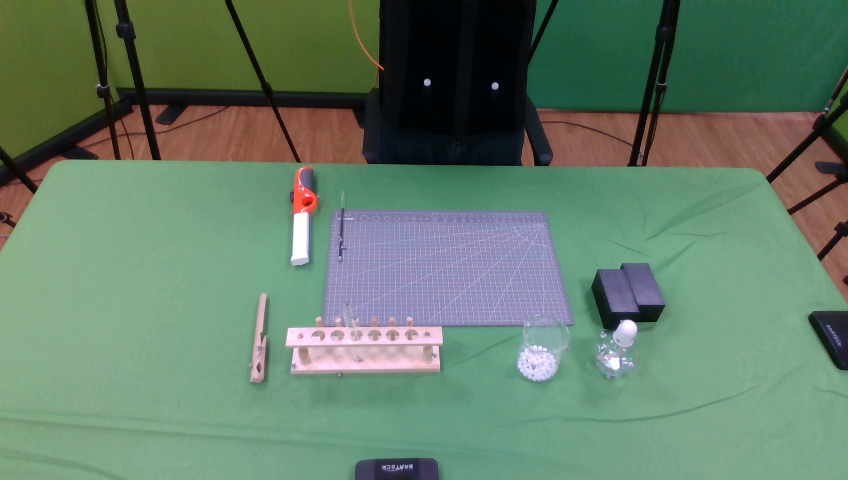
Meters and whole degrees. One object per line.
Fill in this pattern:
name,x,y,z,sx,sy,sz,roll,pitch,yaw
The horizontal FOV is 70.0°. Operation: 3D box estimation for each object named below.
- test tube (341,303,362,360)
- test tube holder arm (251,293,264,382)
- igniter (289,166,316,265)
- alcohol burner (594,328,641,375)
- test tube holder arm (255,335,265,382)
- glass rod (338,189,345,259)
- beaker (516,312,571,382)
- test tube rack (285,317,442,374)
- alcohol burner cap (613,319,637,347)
test tube,-0.111,0.145,0.938,0.017,0.151,0.017,-1,50,2
test tube holder arm,-0.281,0.160,1.025,0.013,0.015,0.177,23,36,-32
igniter,-0.248,-0.058,1.233,0.057,0.025,0.274,-9,47,1
alcohol burner,0.322,0.170,0.994,0.078,0.119,0.077,3,48,-3
test tube holder arm,-0.270,0.193,0.997,0.010,0.015,0.087,23,36,-32
glass rod,-0.166,-0.037,1.227,0.008,0.008,0.198,-1,47,-4
beaker,0.190,0.180,0.985,0.073,0.101,0.084,30,52,24
test tube rack,-0.095,0.166,0.988,0.242,0.085,0.066,0,46,-4
alcohol burner cap,0.323,0.146,0.966,0.034,0.048,0.033,-1,52,2
